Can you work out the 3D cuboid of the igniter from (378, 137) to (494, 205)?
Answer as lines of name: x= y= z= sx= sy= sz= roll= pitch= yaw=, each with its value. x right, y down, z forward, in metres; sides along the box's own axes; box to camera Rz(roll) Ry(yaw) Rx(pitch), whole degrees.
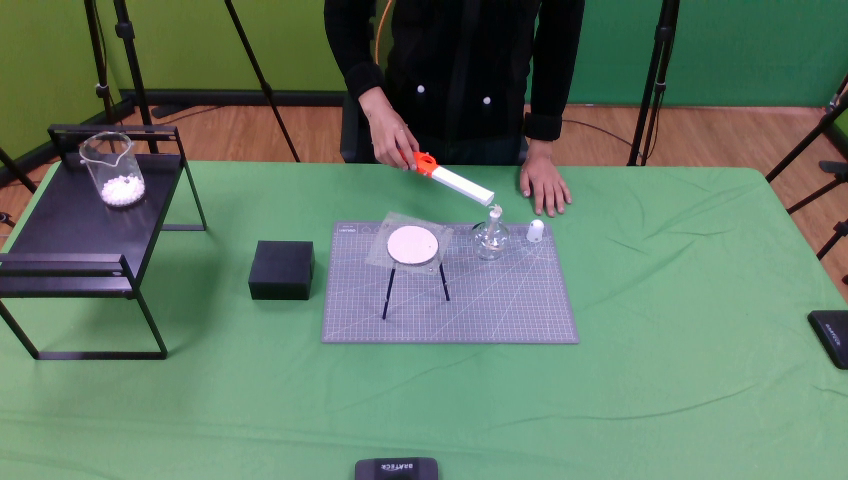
igniter: x=0.015 y=-0.139 z=1.184 sx=0.275 sy=0.025 sz=0.057 roll=30 pitch=52 yaw=24

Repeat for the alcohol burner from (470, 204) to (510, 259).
alcohol burner: x=0.128 y=-0.021 z=1.161 sx=0.078 sy=0.119 sz=0.077 roll=2 pitch=44 yaw=-2

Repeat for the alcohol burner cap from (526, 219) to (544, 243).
alcohol burner cap: x=0.225 y=-0.021 z=1.218 sx=0.034 sy=0.048 sz=0.033 roll=1 pitch=46 yaw=-1

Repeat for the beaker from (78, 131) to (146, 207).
beaker: x=-0.488 y=-0.108 z=0.961 sx=0.074 sy=0.101 sz=0.083 roll=-25 pitch=54 yaw=-25

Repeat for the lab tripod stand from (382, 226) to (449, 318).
lab tripod stand: x=-0.024 y=0.055 z=1.062 sx=0.148 sy=0.132 sz=0.147 roll=2 pitch=48 yaw=-2

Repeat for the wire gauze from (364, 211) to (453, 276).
wire gauze: x=-0.024 y=0.006 z=1.016 sx=0.121 sy=0.011 sz=0.124 roll=14 pitch=48 yaw=9
